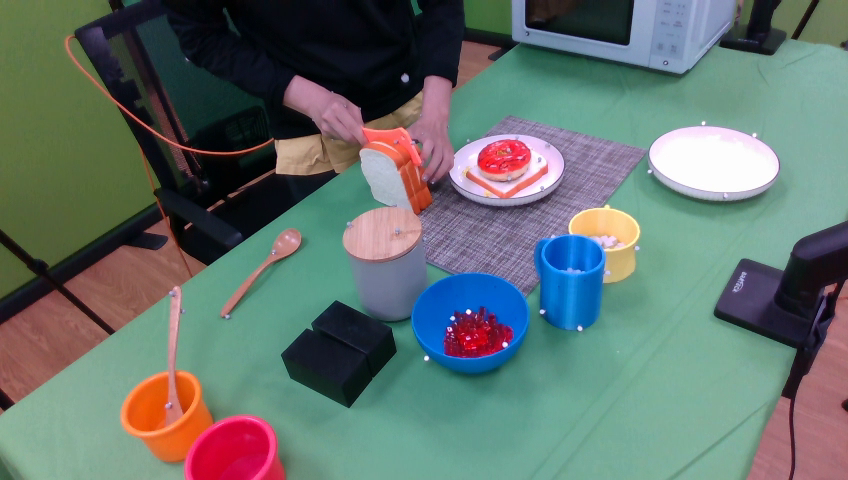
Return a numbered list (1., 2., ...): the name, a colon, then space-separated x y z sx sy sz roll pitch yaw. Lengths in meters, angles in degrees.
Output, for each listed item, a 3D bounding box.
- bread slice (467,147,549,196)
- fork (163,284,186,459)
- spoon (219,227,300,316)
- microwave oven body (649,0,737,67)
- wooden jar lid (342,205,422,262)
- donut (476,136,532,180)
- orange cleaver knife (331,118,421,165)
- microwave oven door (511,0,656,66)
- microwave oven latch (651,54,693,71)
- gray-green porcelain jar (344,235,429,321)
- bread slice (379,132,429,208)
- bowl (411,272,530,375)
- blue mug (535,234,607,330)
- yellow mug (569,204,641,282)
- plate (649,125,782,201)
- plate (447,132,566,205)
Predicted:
1. bread slice: 0.156 -0.128 1.084 0.132 0.019 0.104 -34 48 -23
2. fork: -0.302 0.157 0.733 0.028 0.019 0.207 -3 84 15
3. spoon: -0.261 0.046 0.954 0.041 0.021 0.194 27 48 10
4. microwave oven body: 0.475 -0.602 1.411 0.438 0.261 0.327 23 50 32
5. wooden jar lid: -0.055 -0.005 0.808 0.108 0.021 0.108 -6 40 6
6. donut: 0.140 -0.146 1.059 0.099 0.048 0.098 -7 41 6
7. orange cleaver knife: -0.085 -0.170 1.032 0.209 0.077 0.012 19 48 41
8. microwave oven door: 0.351 -0.540 1.349 0.353 0.245 0.039 24 50 31
9. microwave oven latch: 0.531 -0.386 1.301 0.078 0.029 0.030 26 51 33
10. gray-green porcelain jar: -0.049 0.042 0.849 0.106 0.127 0.105 -4 41 4
11. bread slice: -0.039 -0.124 1.039 0.106 0.135 0.018 28 50 34
12. bowl: 0.061 0.120 0.780 0.151 0.077 0.150 -4 40 4
13. blue mug: 0.191 0.048 0.824 0.082 0.106 0.115 -26 44 -20
14. yellow mug: 0.268 -0.005 0.904 0.099 0.064 0.130 7 41 15
15. plate: 0.493 -0.127 1.036 0.207 0.039 0.206 -4 41 4
16. plate: 0.146 -0.124 1.076 0.209 0.038 0.208 -4 41 4
